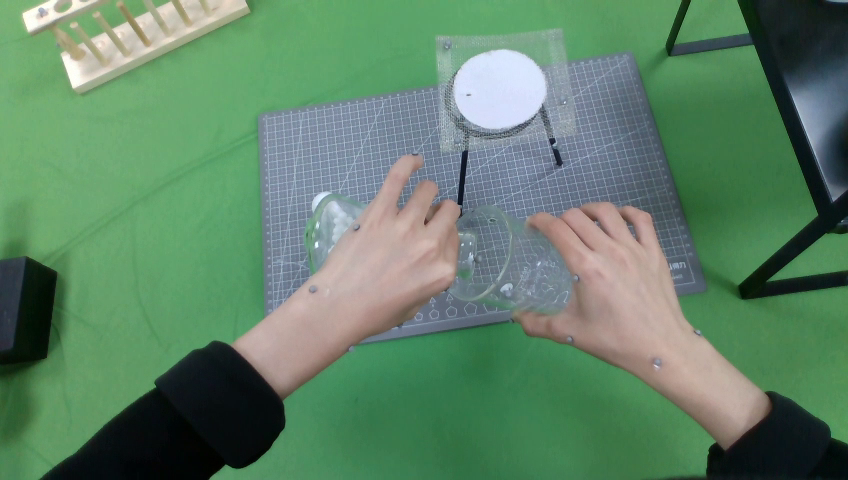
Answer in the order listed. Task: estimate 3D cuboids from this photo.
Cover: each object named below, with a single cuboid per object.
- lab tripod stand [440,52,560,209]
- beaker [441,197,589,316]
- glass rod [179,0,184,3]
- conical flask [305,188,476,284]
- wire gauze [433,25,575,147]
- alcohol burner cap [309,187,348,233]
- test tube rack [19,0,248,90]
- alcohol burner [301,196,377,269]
[{"bbox_3d":[0.071,-0.115,0.616,0.148,0.132,0.147,-2,67,4],"label":"lab tripod stand"},{"bbox_3d":[0.073,0.019,0.478,0.084,0.101,0.073,-46,43,32],"label":"beaker"},{"bbox_3d":[-0.319,-0.352,0.703,0.008,0.201,0.008,0,66,1],"label":"glass rod"},{"bbox_3d":[-0.023,0.002,0.463,0.122,0.076,0.075,6,69,8],"label":"conical flask"},{"bbox_3d":[0.071,-0.145,0.554,0.121,0.011,0.124,-3,69,3],"label":"wire gauze"},{"bbox_3d":[-0.092,-0.031,0.571,0.034,0.048,0.033,-1,62,3],"label":"alcohol burner cap"},{"bbox_3d":[-0.355,-0.288,0.754,0.242,0.086,0.066,-28,69,-5],"label":"test tube rack"},{"bbox_3d":[-0.088,-0.016,0.605,0.078,0.120,0.077,-1,67,4],"label":"alcohol burner"}]
